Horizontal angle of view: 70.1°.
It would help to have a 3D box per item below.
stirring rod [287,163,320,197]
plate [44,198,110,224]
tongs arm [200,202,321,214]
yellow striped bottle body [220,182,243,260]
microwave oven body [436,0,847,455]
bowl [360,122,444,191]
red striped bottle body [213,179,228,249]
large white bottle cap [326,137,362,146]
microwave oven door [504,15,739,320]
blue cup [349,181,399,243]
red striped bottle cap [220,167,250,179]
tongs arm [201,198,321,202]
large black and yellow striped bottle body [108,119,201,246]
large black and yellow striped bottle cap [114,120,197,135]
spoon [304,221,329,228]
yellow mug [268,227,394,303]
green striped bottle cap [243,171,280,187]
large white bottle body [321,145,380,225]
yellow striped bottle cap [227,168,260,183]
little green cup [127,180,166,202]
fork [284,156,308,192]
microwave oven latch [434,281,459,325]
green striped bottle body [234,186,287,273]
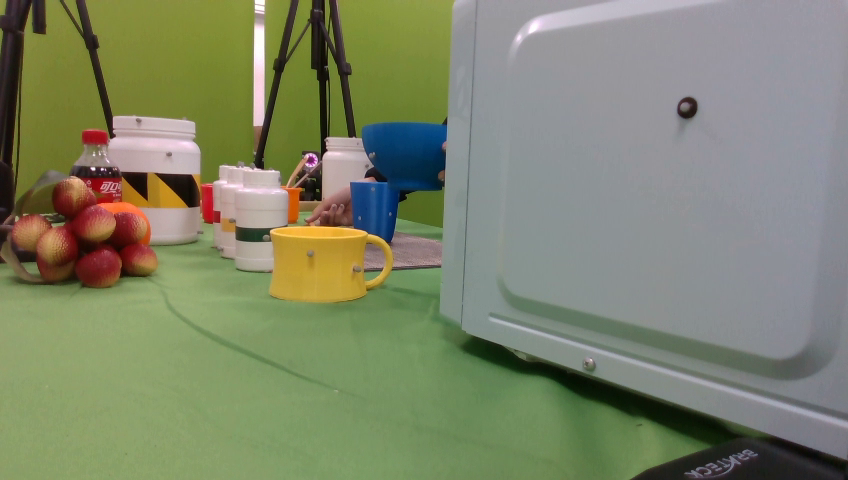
[{"bbox_3d":[-0.283,-0.107,1.298,0.014,0.006,0.176,10,52,51],"label":"stirring rod"},{"bbox_3d":[-0.617,-0.056,1.179,0.209,0.038,0.209,3,7,0],"label":"plate"},{"bbox_3d":[-0.378,-0.079,1.440,0.387,0.026,0.050,-4,7,-44],"label":"tongs arm"},{"bbox_3d":[-0.245,-0.036,0.825,0.063,0.120,0.063,3,8,0],"label":"yellow striped bottle body"},{"bbox_3d":[0.279,-0.040,0.465,0.444,0.260,0.324,-3,9,-41],"label":"microwave oven body"},{"bbox_3d":[-0.012,-0.106,0.809,0.151,0.077,0.151,3,1,0],"label":"bowl"},{"bbox_3d":[-0.284,-0.048,0.910,0.063,0.119,0.063,3,12,0],"label":"red striped bottle body"},{"bbox_3d":[-0.158,-0.214,1.329,0.115,0.018,0.115,2,7,0],"label":"large white bottle cap"},{"bbox_3d":[0.218,-0.065,0.600,0.358,0.243,0.039,-4,10,-41],"label":"microwave oven door"},{"bbox_3d":[-0.084,-0.047,1.014,0.093,0.100,0.092,2,7,0],"label":"blue cup"},{"bbox_3d":[-0.281,-0.100,0.901,0.044,0.017,0.044,-1,4,0],"label":"red striped bottle cap"},{"bbox_3d":[-0.433,-0.090,1.508,0.390,0.028,0.028,-1,2,-29],"label":"tongs arm"},{"bbox_3d":[-0.412,-0.088,0.930,0.131,0.184,0.130,3,7,0],"label":"large black and yellow striped bottle body"},{"bbox_3d":[-0.407,-0.171,0.920,0.115,0.019,0.115,2,9,0],"label":"large black and yellow striped bottle cap"},{"bbox_3d":[-0.205,-0.025,1.107,0.042,0.021,0.193,-26,14,-13],"label":"spoon"},{"bbox_3d":[-0.094,0.023,0.629,0.131,0.064,0.099,0,7,-21],"label":"yellow mug"},{"bbox_3d":[-0.198,-0.074,0.736,0.044,0.020,0.044,1,7,0],"label":"green striped bottle cap"},{"bbox_3d":[-0.162,-0.131,1.340,0.131,0.184,0.130,2,8,0],"label":"large white bottle body"},{"bbox_3d":[-0.243,-0.087,0.818,0.044,0.018,0.044,3,6,0],"label":"yellow striped bottle cap"},{"bbox_3d":[-0.485,-0.086,1.061,0.061,0.038,0.061,1,7,0],"label":"little green cup"},{"bbox_3d":[-0.295,-0.116,1.323,0.028,0.019,0.207,1,50,21],"label":"fork"},{"bbox_3d":[0.044,0.045,0.470,0.079,0.029,0.030,-2,8,-39],"label":"microwave oven latch"},{"bbox_3d":[-0.200,-0.023,0.743,0.063,0.119,0.063,2,7,0],"label":"green striped bottle body"}]
